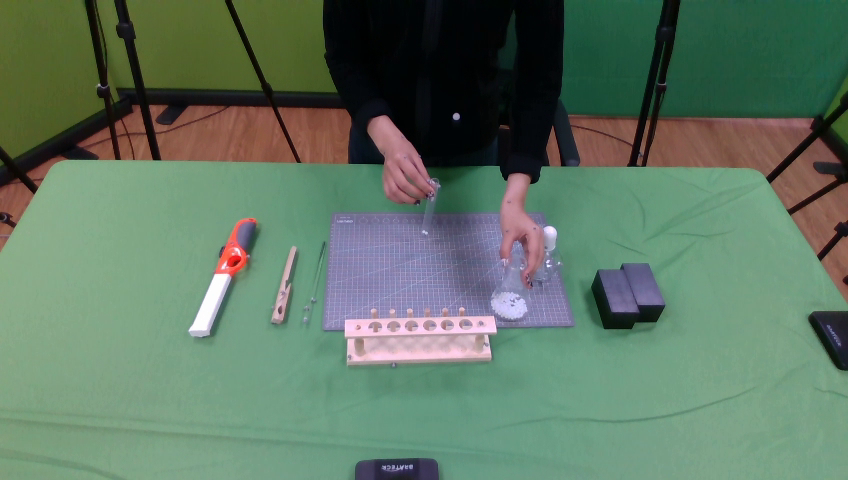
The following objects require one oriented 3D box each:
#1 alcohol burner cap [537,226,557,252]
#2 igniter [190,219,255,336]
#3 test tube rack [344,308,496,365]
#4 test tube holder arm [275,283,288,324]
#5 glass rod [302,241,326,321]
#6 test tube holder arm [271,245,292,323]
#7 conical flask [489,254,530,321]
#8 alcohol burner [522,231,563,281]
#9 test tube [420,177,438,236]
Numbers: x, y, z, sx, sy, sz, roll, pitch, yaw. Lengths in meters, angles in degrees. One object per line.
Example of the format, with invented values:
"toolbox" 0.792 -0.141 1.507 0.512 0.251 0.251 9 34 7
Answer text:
"alcohol burner cap" 0.226 -0.004 1.104 0.034 0.048 0.033 0 50 0
"igniter" -0.365 0.058 1.110 0.057 0.025 0.275 -1 45 8
"test tube rack" -0.009 0.154 1.007 0.242 0.085 0.066 -1 46 -5
"test tube holder arm" -0.254 0.111 1.077 0.010 0.015 0.087 30 38 -27
"glass rod" -0.203 0.071 1.123 0.008 0.008 0.198 4 44 1
"test tube holder arm" -0.259 0.076 1.106 0.013 0.015 0.177 28 38 -28
"conical flask" 0.155 0.079 1.061 0.075 0.122 0.075 0 44 0
"alcohol burner" 0.224 0.020 1.131 0.078 0.119 0.077 4 46 -4
"test tube" 0.008 -0.058 1.107 0.017 0.151 0.017 4 51 -5
